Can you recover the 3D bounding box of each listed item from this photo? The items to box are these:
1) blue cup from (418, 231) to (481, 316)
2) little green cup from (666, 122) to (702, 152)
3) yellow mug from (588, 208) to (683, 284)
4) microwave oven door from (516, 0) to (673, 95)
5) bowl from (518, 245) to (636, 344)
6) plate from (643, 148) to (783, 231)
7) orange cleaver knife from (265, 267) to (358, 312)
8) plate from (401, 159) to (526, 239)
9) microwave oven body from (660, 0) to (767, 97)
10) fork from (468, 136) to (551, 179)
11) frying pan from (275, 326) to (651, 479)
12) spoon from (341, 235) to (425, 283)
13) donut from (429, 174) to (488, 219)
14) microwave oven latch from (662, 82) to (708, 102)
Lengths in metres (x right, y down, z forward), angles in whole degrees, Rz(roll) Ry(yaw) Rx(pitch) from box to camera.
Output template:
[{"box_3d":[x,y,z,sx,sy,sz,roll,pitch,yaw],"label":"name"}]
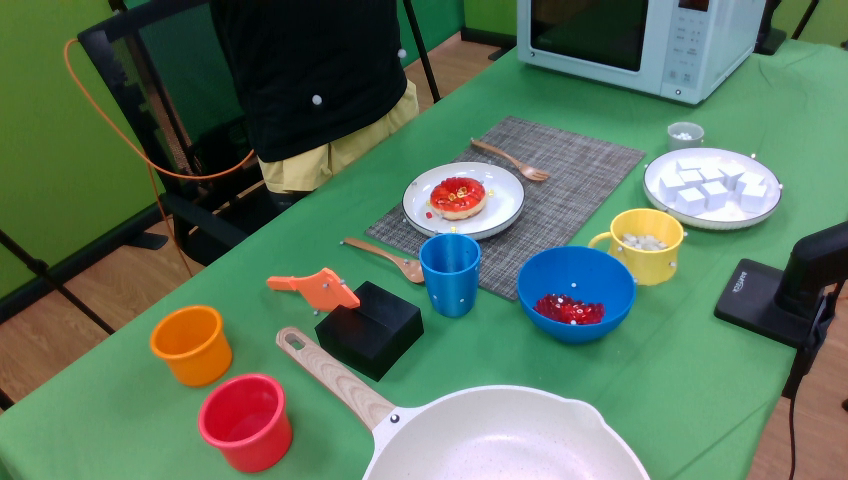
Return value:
[{"box_3d":[0.040,0.052,0.843,0.092,0.100,0.092,-4,43,4],"label":"blue cup"},{"box_3d":[0.472,-0.183,1.102,0.061,0.039,0.061,-5,41,5],"label":"little green cup"},{"box_3d":[0.305,0.009,0.884,0.131,0.064,0.099,-4,40,5],"label":"yellow mug"},{"box_3d":[0.344,-0.458,1.257,0.353,0.245,0.039,26,51,33],"label":"microwave oven door"},{"box_3d":[0.200,0.084,0.803,0.151,0.077,0.150,-4,40,4],"label":"bowl"},{"box_3d":[0.465,-0.080,0.985,0.207,0.039,0.206,-4,41,4],"label":"plate"},{"box_3d":[-0.164,0.073,0.864,0.210,0.077,0.012,-6,31,50],"label":"orange cleaver knife"},{"box_3d":[0.067,-0.065,1.019,0.209,0.038,0.208,-4,40,4],"label":"plate"},{"box_3d":[0.473,-0.516,1.314,0.438,0.261,0.327,26,51,34],"label":"microwave oven body"},{"box_3d":[0.153,-0.156,1.126,0.028,0.019,0.205,-39,51,-18],"label":"fork"},{"box_3d":[0.004,0.229,0.641,0.484,0.103,0.308,34,54,28],"label":"frying pan"},{"box_3d":[-0.061,0.023,0.953,0.192,0.022,0.041,24,70,30],"label":"spoon"},{"box_3d":[0.058,-0.075,1.015,0.099,0.048,0.098,-6,38,5],"label":"donut"},{"box_3d":[0.518,-0.298,1.203,0.078,0.029,0.030,28,53,35],"label":"microwave oven latch"}]
